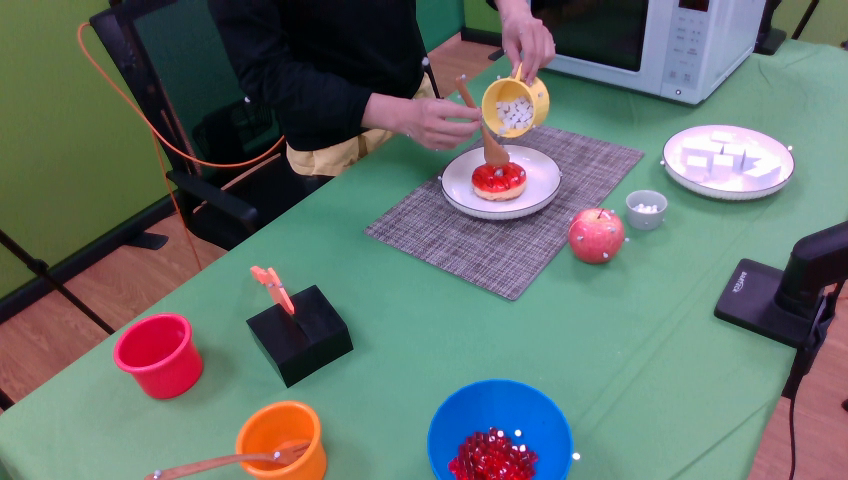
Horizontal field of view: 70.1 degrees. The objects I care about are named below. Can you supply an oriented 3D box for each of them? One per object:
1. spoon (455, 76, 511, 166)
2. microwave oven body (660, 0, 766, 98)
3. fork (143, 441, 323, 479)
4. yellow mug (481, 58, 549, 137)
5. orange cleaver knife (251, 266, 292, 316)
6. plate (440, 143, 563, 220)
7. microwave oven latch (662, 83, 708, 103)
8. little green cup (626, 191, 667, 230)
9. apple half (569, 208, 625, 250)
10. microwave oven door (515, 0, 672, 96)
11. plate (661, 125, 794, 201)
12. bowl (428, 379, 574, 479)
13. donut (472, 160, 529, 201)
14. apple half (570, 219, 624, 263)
[{"bbox_3d":[0.088,-0.180,0.943,0.041,0.195,0.021,-13,45,24],"label":"spoon"},{"bbox_3d":[0.472,-0.513,1.317,0.438,0.261,0.327,26,51,34],"label":"microwave oven body"},{"bbox_3d":[-0.189,0.231,0.631,0.028,0.018,0.209,35,13,37],"label":"fork"},{"bbox_3d":[0.160,-0.246,1.035,0.099,0.131,0.064,24,31,22],"label":"yellow mug"},{"bbox_3d":[-0.221,0.071,0.873,0.012,0.077,0.210,-25,11,-21],"label":"orange cleaver knife"},{"bbox_3d":[0.134,-0.098,1.052,0.209,0.038,0.208,-4,40,4],"label":"plate"},{"bbox_3d":[0.518,-0.297,1.204,0.078,0.029,0.030,28,52,35],"label":"microwave oven latch"},{"bbox_3d":[0.352,-0.046,0.963,0.061,0.039,0.061,-4,40,4],"label":"little green cup"},{"bbox_3d":[0.262,-0.014,0.913,0.080,0.075,0.053,5,37,20],"label":"apple half"},{"bbox_3d":[0.343,-0.455,1.259,0.353,0.245,0.039,26,51,33],"label":"microwave oven door"},{"bbox_3d":[0.513,-0.128,1.035,0.207,0.039,0.206,-4,40,4],"label":"plate"},{"bbox_3d":[0.082,0.233,0.644,0.151,0.077,0.150,-4,40,4],"label":"bowl"},{"bbox_3d":[0.132,-0.105,1.043,0.099,0.048,0.098,-5,39,5],"label":"donut"},{"bbox_3d":[0.250,0.009,0.885,0.081,0.081,0.033,7,39,17],"label":"apple half"}]
